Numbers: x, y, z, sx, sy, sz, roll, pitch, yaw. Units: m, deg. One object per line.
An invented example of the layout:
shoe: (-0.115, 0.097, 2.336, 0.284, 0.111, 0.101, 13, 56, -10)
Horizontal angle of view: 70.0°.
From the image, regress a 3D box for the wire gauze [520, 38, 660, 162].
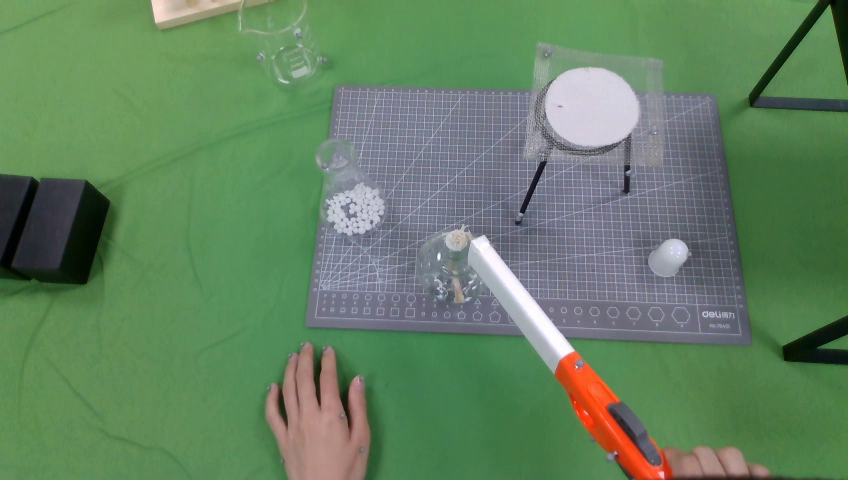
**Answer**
wire gauze: (0.154, -0.129, 0.554, 0.121, 0.011, 0.124, 8, 69, 3)

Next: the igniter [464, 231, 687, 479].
igniter: (0.110, 0.098, 0.456, 0.025, 0.057, 0.273, -23, 56, -20)

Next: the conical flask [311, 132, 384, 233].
conical flask: (-0.083, -0.062, 0.612, 0.075, 0.123, 0.075, -1, 68, 2)

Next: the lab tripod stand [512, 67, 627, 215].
lab tripod stand: (0.148, -0.100, 0.616, 0.148, 0.132, 0.147, 0, 67, 0)

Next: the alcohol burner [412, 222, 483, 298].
alcohol burner: (0.027, 0.013, 0.585, 0.078, 0.120, 0.077, 0, 67, 0)

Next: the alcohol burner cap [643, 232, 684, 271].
alcohol burner cap: (0.248, 0.009, 0.620, 0.034, 0.048, 0.033, -1, 69, 2)

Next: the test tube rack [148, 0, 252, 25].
test tube rack: (-0.236, -0.352, 0.752, 0.242, 0.086, 0.066, -17, 69, -5)

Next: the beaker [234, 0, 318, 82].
beaker: (-0.168, -0.237, 0.698, 0.084, 0.101, 0.073, -38, 72, -12)
